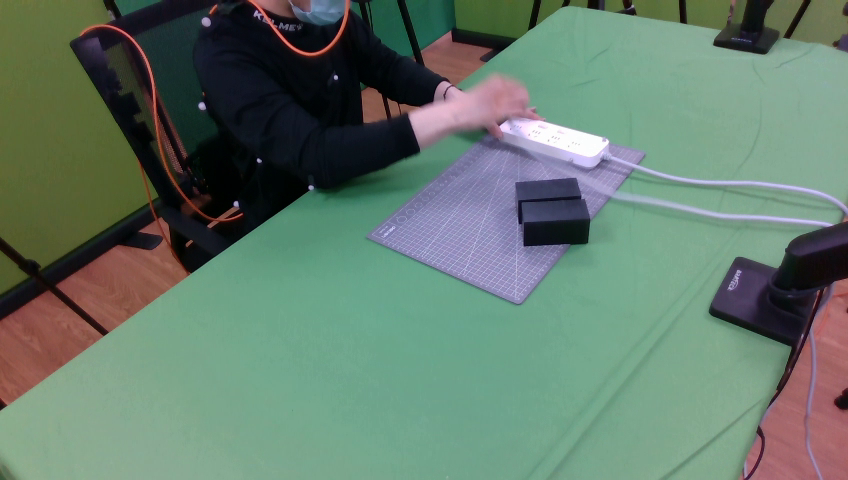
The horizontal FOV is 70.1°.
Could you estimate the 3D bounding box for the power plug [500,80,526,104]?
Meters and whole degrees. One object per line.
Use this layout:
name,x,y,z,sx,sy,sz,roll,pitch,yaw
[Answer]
power plug,0.156,-0.264,1.109,0.072,0.053,0.035,-42,59,-14

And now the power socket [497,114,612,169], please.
power socket,0.239,-0.189,1.141,0.225,0.033,0.072,25,51,31
